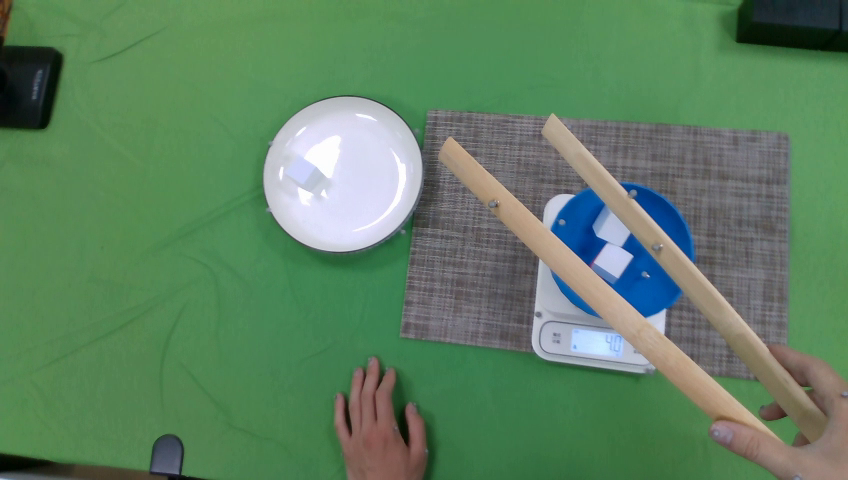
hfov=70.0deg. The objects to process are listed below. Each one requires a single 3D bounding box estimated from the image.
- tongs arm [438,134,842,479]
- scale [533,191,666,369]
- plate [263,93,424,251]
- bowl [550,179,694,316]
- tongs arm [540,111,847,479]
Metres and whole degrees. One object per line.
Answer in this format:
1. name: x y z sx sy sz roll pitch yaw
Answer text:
1. tongs arm: 0.150 0.047 0.461 0.385 0.028 0.028 44 130 16
2. scale: 0.211 0.045 0.718 0.148 0.032 0.200 6 80 8
3. plate: -0.101 -0.085 0.778 0.207 0.039 0.206 -1 79 6
4. bowl: 0.208 0.015 0.670 0.151 0.077 0.150 -1 80 5
5. tongs arm: 0.207 0.026 0.509 0.051 0.026 0.381 -16 59 -39
